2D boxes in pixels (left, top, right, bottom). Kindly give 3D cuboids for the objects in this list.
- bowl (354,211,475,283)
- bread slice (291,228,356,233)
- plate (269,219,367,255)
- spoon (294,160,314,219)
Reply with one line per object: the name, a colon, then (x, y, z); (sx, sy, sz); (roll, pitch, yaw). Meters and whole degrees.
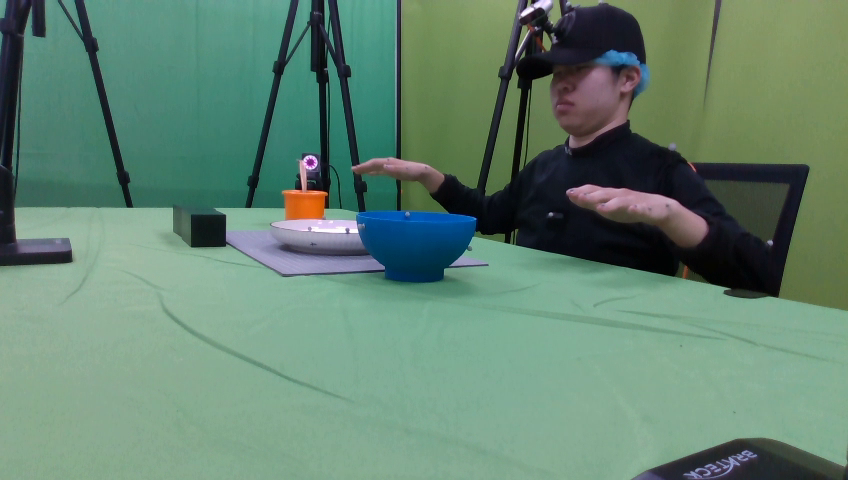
bowl: (-0.013, 0.008, 0.750); (0.151, 0.077, 0.151); (2, 7, 0)
bread slice: (-0.143, -0.003, 0.953); (0.135, 0.018, 0.106); (-1, 8, -37)
plate: (-0.140, -0.006, 0.958); (0.209, 0.038, 0.209); (3, 7, 0)
spoon: (-0.253, -0.102, 1.270); (0.042, 0.193, 0.021); (3, -38, -16)
